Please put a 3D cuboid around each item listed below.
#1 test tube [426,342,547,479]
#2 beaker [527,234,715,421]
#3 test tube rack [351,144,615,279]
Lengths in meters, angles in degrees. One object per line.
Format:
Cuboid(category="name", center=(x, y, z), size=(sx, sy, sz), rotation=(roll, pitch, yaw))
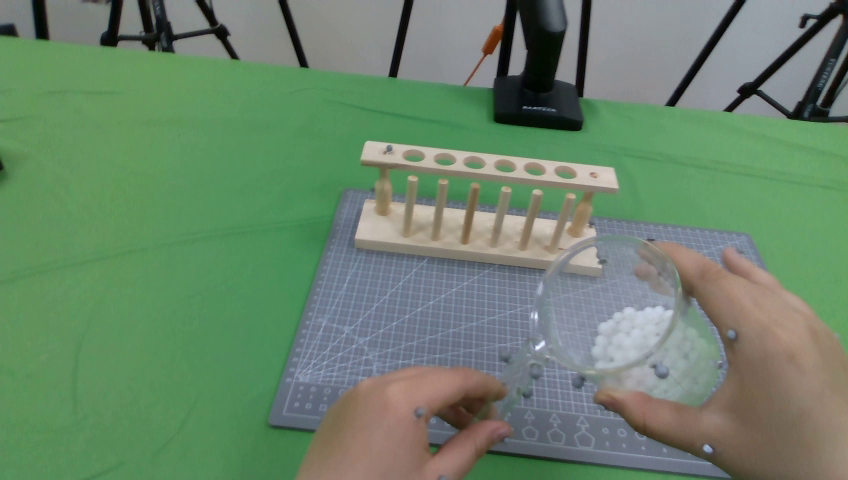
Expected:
Cuboid(category="test tube", center=(0.032, 0.111, 0.358), size=(0.017, 0.151, 0.017), rotation=(15, 39, -13))
Cuboid(category="beaker", center=(0.111, 0.055, 0.332), size=(0.084, 0.101, 0.073), rotation=(-36, 46, 14))
Cuboid(category="test tube rack", center=(0.055, -0.027, 0.592), size=(0.242, 0.086, 0.066), rotation=(7, 41, 0))
